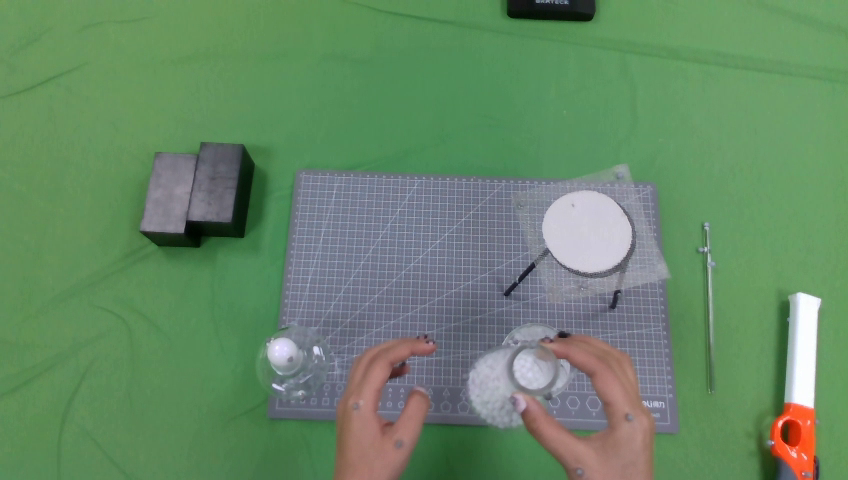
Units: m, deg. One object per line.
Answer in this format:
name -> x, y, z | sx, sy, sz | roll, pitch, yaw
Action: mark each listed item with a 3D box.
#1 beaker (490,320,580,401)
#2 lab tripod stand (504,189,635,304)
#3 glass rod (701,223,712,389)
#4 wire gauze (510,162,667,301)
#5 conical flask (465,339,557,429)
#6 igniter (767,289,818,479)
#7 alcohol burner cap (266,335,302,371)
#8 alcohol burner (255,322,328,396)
beaker -> 0.111, 0.130, 0.636 | 0.084, 0.101, 0.073 | 1, 71, -1
lab tripod stand -> 0.161, 0.014, 0.657 | 0.148, 0.132, 0.147 | 0, 73, 0
glass rod -> 0.330, 0.073, 0.708 | 0.008, 0.008, 0.198 | 7, 71, 1
wire gauze -> 0.160, -0.009, 0.594 | 0.125, 0.011, 0.120 | -14, 74, -4
conical flask -> 0.075, 0.110, 0.489 | 0.075, 0.122, 0.075 | 1, 70, -2
igniter -> 0.404, 0.187, 0.661 | 0.057, 0.025, 0.275 | 17, 72, -6
alcohol burner cap -> -0.138, 0.108, 0.593 | 0.034, 0.048, 0.033 | 2, 69, -5
alcohol burner -> -0.140, 0.121, 0.627 | 0.078, 0.119, 0.077 | 1, 73, -2
